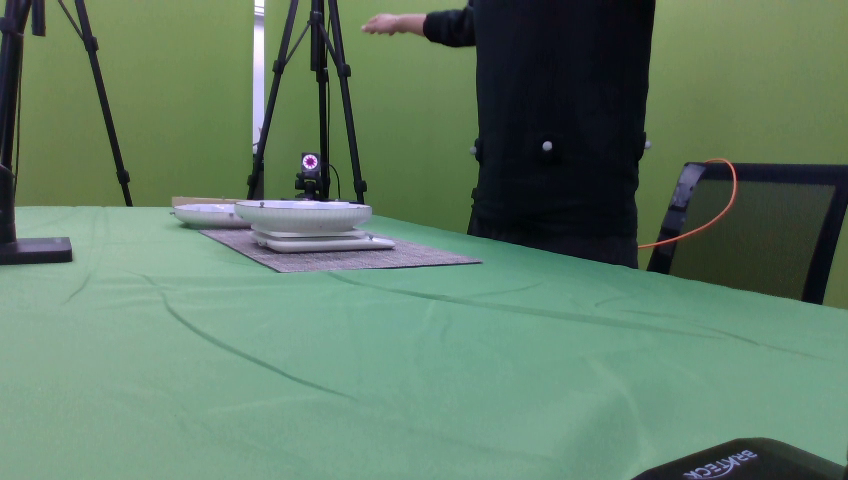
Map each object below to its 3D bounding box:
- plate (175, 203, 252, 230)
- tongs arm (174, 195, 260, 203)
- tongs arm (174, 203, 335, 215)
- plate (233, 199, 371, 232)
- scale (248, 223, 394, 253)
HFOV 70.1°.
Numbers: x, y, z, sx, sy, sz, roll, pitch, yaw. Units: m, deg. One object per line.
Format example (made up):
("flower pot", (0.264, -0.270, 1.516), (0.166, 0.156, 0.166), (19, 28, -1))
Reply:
("plate", (-0.381, -0.047, 1.199), (0.208, 0.039, 0.207), (3, 7, 0))
("tongs arm", (-0.418, -0.088, 1.508), (0.386, 0.026, 0.050), (2, 7, -18))
("tongs arm", (-0.384, -0.073, 1.428), (0.390, 0.028, 0.028), (-1, 5, -33))
("plate", (-0.188, -0.039, 0.939), (0.209, 0.038, 0.209), (2, 7, 0))
("scale", (-0.162, -0.006, 0.954), (0.202, 0.031, 0.148), (-2, 8, -32))
